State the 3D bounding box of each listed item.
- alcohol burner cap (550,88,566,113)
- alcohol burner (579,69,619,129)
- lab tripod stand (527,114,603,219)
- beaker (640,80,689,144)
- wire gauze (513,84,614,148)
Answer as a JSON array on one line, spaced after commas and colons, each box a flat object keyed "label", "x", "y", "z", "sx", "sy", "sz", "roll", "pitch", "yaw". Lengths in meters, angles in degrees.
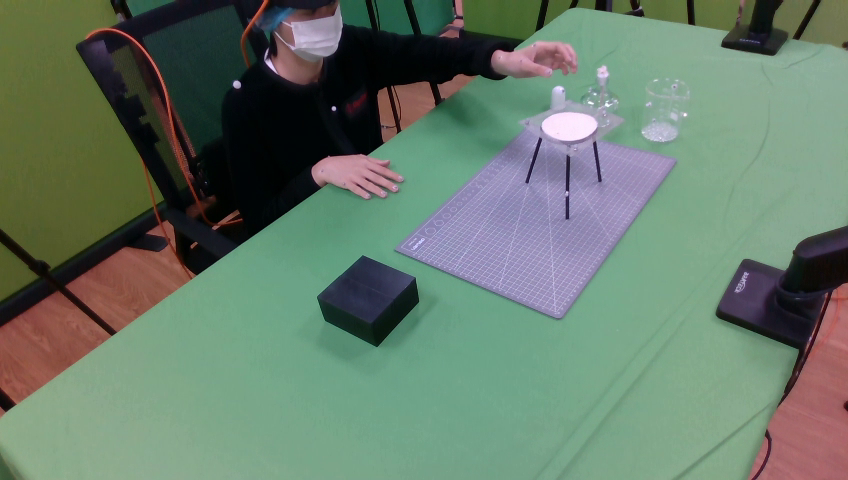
[{"label": "alcohol burner cap", "x": 0.282, "y": -0.296, "z": 1.270, "sx": 0.034, "sy": 0.048, "sz": 0.033, "roll": -4, "pitch": 41, "yaw": 4}, {"label": "alcohol burner", "x": 0.345, "y": -0.280, "z": 1.184, "sx": 0.078, "sy": 0.119, "sz": 0.077, "roll": -4, "pitch": 42, "yaw": 4}, {"label": "lab tripod stand", "x": 0.234, "y": -0.130, "z": 1.002, "sx": 0.148, "sy": 0.132, "sz": 0.147, "roll": -6, "pitch": 40, "yaw": 6}, {"label": "beaker", "x": 0.446, "y": -0.235, "z": 1.126, "sx": 0.074, "sy": 0.101, "sz": 0.083, "roll": -34, "pitch": 47, "yaw": -27}, {"label": "wire gauze", "x": 0.220, "y": -0.194, "z": 0.951, "sx": 0.120, "sy": 0.011, "sz": 0.125, "roll": 23, "pitch": 56, "yaw": 25}]
